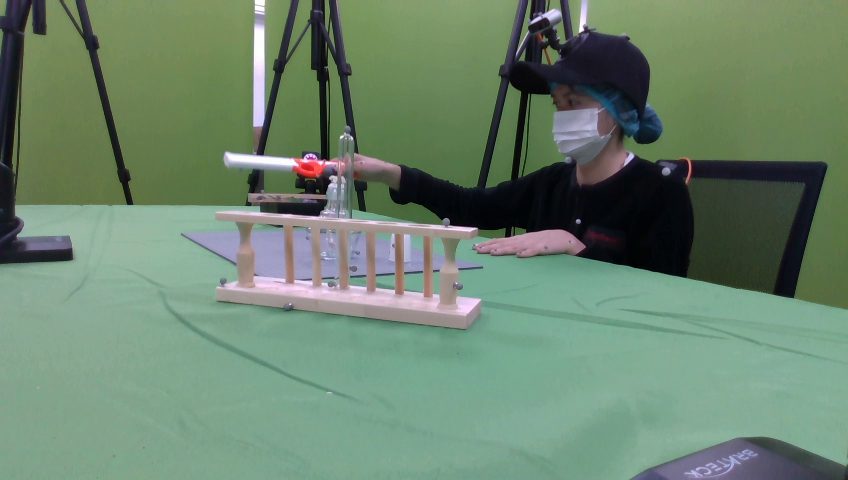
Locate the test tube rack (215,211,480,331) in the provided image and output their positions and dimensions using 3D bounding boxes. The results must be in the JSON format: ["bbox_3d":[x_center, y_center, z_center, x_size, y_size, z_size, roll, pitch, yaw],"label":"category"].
[{"bbox_3d":[-0.071,0.022,0.565,0.242,0.085,0.067,5,7,16],"label":"test tube rack"}]

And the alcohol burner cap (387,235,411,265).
[{"bbox_3d":[-0.035,0.009,0.839,0.034,0.048,0.034,2,6,0],"label":"alcohol burner cap"}]

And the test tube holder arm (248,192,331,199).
[{"bbox_3d":[-0.267,-0.090,1.218,0.179,0.013,0.015,-7,20,-39],"label":"test tube holder arm"}]

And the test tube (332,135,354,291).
[{"bbox_3d":[-0.078,-0.025,0.581,0.017,0.150,0.017,3,7,0],"label":"test tube"}]

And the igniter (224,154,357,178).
[{"bbox_3d":[-0.265,-0.150,1.237,0.278,0.025,0.057,0,39,-35],"label":"igniter"}]

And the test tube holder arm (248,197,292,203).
[{"bbox_3d":[-0.303,-0.080,1.191,0.088,0.010,0.015,-7,20,-39],"label":"test tube holder arm"}]

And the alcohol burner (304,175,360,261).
[{"bbox_3d":[-0.126,-0.031,0.838,0.078,0.119,0.078,3,5,0],"label":"alcohol burner"}]
